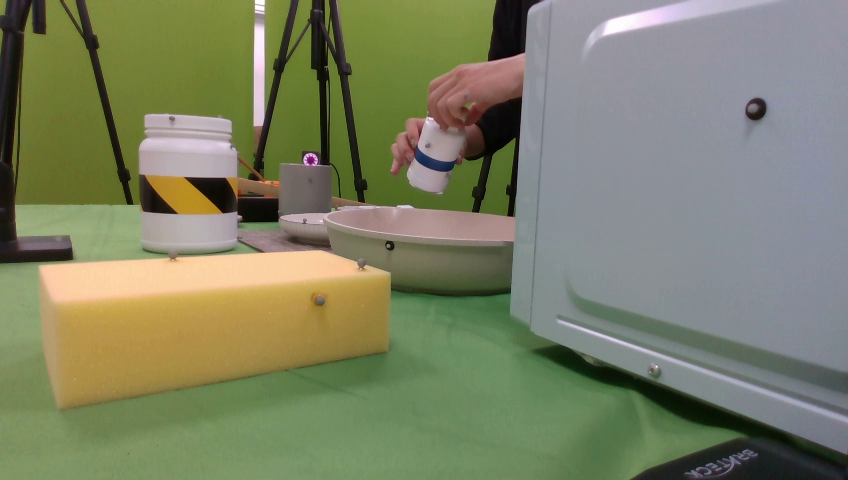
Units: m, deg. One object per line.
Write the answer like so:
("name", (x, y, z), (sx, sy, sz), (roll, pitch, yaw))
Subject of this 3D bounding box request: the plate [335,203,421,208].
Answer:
("plate", (-0.089, -0.053, 1.309), (0.208, 0.039, 0.207), (2, 8, 0))

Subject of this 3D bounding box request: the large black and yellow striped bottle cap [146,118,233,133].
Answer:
("large black and yellow striped bottle cap", (-0.333, -0.163, 0.861), (0.115, 0.019, 0.115), (1, 9, 0))

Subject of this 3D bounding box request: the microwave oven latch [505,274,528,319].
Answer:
("microwave oven latch", (0.100, 0.041, 0.471), (0.079, 0.029, 0.030), (-1, 7, -28))

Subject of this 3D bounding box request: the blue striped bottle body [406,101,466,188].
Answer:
("blue striped bottle body", (0.020, -0.139, 0.866), (0.063, 0.120, 0.063), (14, 35, -10))

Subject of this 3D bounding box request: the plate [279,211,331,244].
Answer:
("plate", (-0.139, -0.022, 1.021), (0.209, 0.038, 0.209), (2, 8, 0))

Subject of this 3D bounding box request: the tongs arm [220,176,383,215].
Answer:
("tongs arm", (-0.285, -0.103, 1.445), (0.389, 0.027, 0.028), (9, -4, -23))

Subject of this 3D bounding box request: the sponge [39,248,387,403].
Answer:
("sponge", (-0.142, 0.047, 0.420), (0.208, 0.061, 0.117), (-3, 8, -37))

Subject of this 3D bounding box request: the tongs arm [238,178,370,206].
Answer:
("tongs arm", (-0.241, -0.095, 1.373), (0.387, 0.026, 0.050), (9, -1, -37))

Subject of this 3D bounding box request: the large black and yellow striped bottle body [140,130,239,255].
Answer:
("large black and yellow striped bottle body", (-0.336, -0.078, 0.872), (0.131, 0.184, 0.130), (2, 8, 0))

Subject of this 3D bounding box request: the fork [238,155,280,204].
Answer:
("fork", (-0.396, -0.143, 1.486), (0.028, 0.018, 0.208), (20, -26, 45))

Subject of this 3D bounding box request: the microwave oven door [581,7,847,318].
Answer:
("microwave oven door", (0.295, -0.067, 0.569), (0.358, 0.243, 0.039), (-3, 8, -31))

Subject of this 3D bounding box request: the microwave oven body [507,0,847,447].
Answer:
("microwave oven body", (0.331, -0.042, 0.425), (0.444, 0.260, 0.324), (-2, 8, -31))

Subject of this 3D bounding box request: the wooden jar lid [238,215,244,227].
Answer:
("wooden jar lid", (-0.404, -0.037, 1.169), (0.108, 0.020, 0.108), (3, 7, 0))

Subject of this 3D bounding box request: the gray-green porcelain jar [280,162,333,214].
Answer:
("gray-green porcelain jar", (-0.238, -0.092, 1.221), (0.106, 0.126, 0.106), (2, 7, 0))

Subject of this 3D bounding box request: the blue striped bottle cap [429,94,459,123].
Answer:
("blue striped bottle cap", (0.029, -0.180, 0.837), (0.020, 0.044, 0.045), (-38, -14, 29))

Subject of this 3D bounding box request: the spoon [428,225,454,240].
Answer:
("spoon", (0.024, -0.018, 1.125), (0.042, 0.021, 0.193), (-12, 9, -5))

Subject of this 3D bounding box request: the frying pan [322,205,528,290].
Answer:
("frying pan", (0.110, -0.018, 0.800), (0.490, 0.102, 0.305), (-12, 16, -30))
